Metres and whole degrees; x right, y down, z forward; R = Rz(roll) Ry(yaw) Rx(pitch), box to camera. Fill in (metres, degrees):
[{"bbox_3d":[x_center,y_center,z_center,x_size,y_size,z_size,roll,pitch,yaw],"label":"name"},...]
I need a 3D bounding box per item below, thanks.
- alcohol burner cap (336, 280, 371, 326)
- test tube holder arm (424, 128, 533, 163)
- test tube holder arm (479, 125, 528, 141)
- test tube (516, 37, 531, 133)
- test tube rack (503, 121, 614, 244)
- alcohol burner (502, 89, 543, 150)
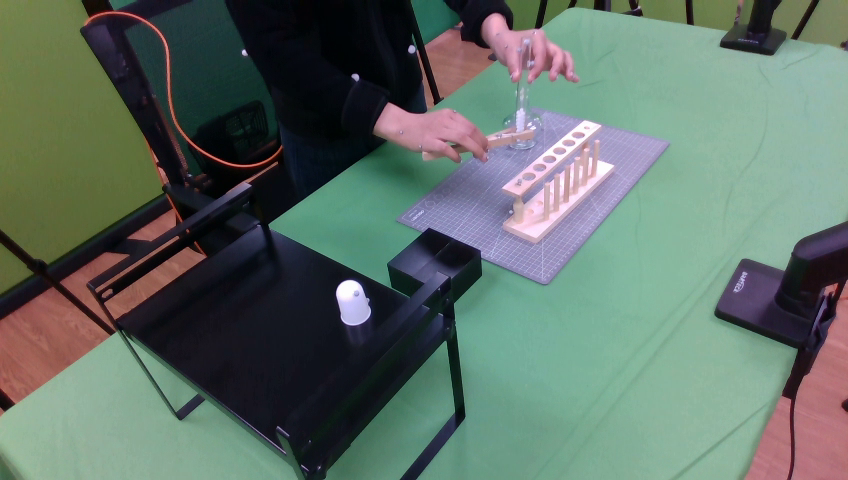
[{"bbox_3d":[-0.073,0.061,0.619,0.034,0.048,0.033,-4,41,4],"label":"alcohol burner cap"},{"bbox_3d":[0.084,-0.143,0.914,0.179,0.015,0.013,-16,34,-16],"label":"test tube holder arm"},{"bbox_3d":[0.123,-0.159,0.932,0.088,0.015,0.010,-22,37,-24],"label":"test tube holder arm"},{"bbox_3d":[0.146,-0.224,0.895,0.017,0.151,0.017,-2,38,2],"label":"test tube"},{"bbox_3d":[0.230,-0.101,1.006,0.066,0.085,0.243,27,51,34],"label":"test tube rack"},{"bbox_3d":[0.186,-0.233,1.147,0.078,0.119,0.077,-5,42,5],"label":"alcohol burner"}]
